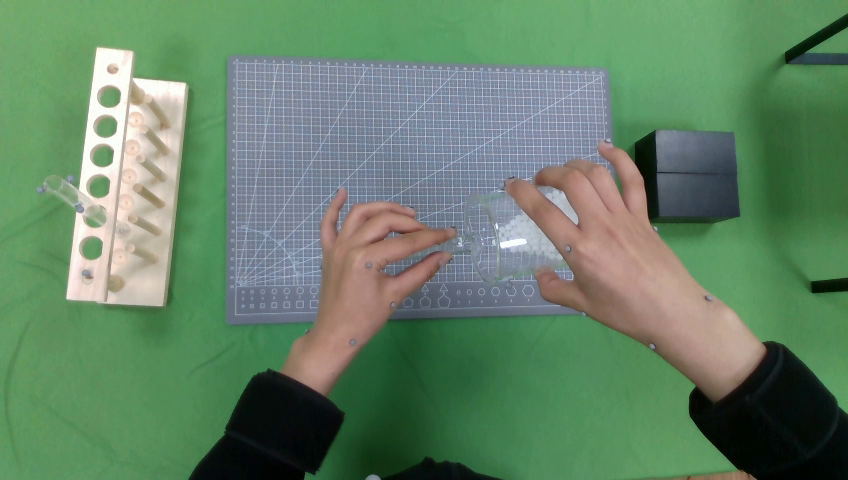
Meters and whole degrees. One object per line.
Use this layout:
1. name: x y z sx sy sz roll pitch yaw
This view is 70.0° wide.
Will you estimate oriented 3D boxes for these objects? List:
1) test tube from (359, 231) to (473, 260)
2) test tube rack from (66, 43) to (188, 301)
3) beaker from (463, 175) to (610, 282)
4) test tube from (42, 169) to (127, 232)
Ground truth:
1. test tube: -0.012 0.007 0.568 0.017 0.150 0.017 6 80 -42
2. test tube rack: -0.294 -0.062 0.610 0.067 0.085 0.241 4 83 -8
3. beaker: 0.089 -0.011 0.489 0.100 0.084 0.074 -10 86 -13
4. test tube: -0.306 -0.032 0.555 0.017 0.150 0.017 2 76 -6
